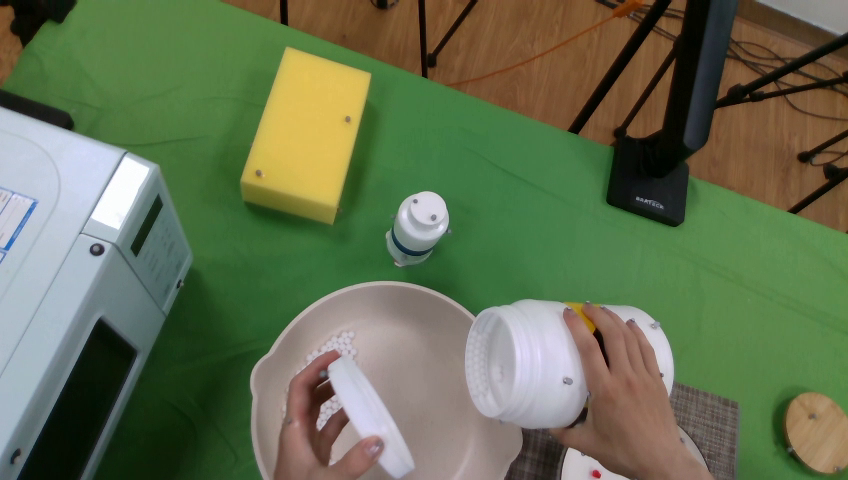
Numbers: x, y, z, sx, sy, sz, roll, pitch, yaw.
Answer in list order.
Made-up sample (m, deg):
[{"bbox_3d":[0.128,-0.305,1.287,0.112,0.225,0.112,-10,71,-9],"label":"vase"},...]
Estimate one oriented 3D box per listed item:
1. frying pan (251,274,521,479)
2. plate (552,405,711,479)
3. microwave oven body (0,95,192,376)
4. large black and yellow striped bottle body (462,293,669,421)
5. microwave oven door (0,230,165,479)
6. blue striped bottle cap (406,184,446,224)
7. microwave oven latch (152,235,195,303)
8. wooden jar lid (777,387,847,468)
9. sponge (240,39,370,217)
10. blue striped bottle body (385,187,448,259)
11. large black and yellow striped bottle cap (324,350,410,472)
[{"bbox_3d":[-0.067,0.272,0.639,0.307,0.103,0.484,18,59,-4],"label":"frying pan"},{"bbox_3d":[0.251,0.300,0.742,0.210,0.038,0.207,5,70,-12],"label":"plate"},{"bbox_3d":[-0.455,0.103,0.517,0.327,0.261,0.439,20,68,-7],"label":"microwave oven body"},{"bbox_3d":[0.144,0.123,0.638,0.185,0.131,0.130,6,69,-23],"label":"large black and yellow striped bottle body"},{"bbox_3d":[-0.330,0.187,0.512,0.039,0.244,0.353,19,67,-6],"label":"microwave oven door"},{"bbox_3d":[0.002,-0.042,0.706,0.045,0.021,0.044,4,71,-12],"label":"blue striped bottle cap"},{"bbox_3d":[-0.289,0.030,0.689,0.030,0.029,0.078,21,68,-6],"label":"microwave oven latch"},{"bbox_3d":[0.539,0.260,0.842,0.109,0.021,0.107,4,71,-11],"label":"wooden jar lid"},{"bbox_3d":[-0.152,-0.147,0.794,0.118,0.061,0.205,15,69,-9],"label":"sponge"},{"bbox_3d":[-0.008,-0.024,0.753,0.063,0.121,0.062,4,69,-12],"label":"blue striped bottle body"},{"bbox_3d":[-0.050,0.149,0.531,0.019,0.115,0.114,-32,80,-5],"label":"large black and yellow striped bottle cap"}]
